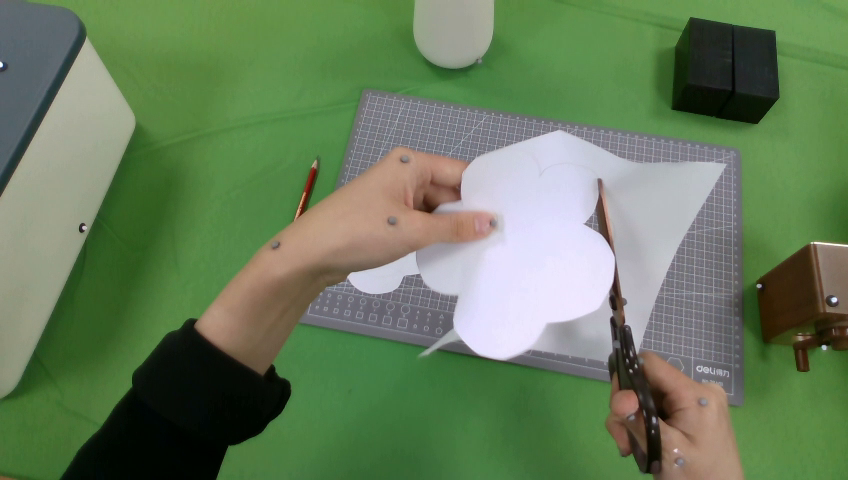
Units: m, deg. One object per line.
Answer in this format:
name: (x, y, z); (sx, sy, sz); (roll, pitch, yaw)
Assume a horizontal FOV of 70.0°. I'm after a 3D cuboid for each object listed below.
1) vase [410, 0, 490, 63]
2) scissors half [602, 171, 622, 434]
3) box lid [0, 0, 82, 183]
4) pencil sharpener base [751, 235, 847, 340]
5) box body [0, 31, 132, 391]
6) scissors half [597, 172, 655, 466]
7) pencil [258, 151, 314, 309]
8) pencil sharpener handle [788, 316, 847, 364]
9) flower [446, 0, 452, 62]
vase: (0.030, -0.293, 0.675); (0.098, 0.201, 0.097); (0, 65, 1)
scissors half: (0.116, 0.043, 0.372); (0.013, 0.176, 0.040); (-8, 22, 5)
box lid: (-0.481, -0.082, 0.517); (0.263, 0.015, 0.369); (10, 67, 3)
pencil sharpener base: (0.371, 0.052, 0.582); (0.061, 0.108, 0.076); (6, 67, 2)
box body: (-0.481, -0.050, 0.585); (0.254, 0.161, 0.361); (10, 67, 4)
scissors half: (0.116, 0.047, 0.352); (0.013, 0.040, 0.175); (-10, 92, 0)
pencil: (-0.147, -0.017, 0.659); (0.012, 0.012, 0.193); (11, 66, 5)
pencil sharpener handle: (0.362, 0.093, 0.551); (0.036, 0.068, 0.030); (12, 67, -11)
flower: (0.026, -0.340, 0.604); (0.044, 0.365, 0.038); (3, 49, 5)
